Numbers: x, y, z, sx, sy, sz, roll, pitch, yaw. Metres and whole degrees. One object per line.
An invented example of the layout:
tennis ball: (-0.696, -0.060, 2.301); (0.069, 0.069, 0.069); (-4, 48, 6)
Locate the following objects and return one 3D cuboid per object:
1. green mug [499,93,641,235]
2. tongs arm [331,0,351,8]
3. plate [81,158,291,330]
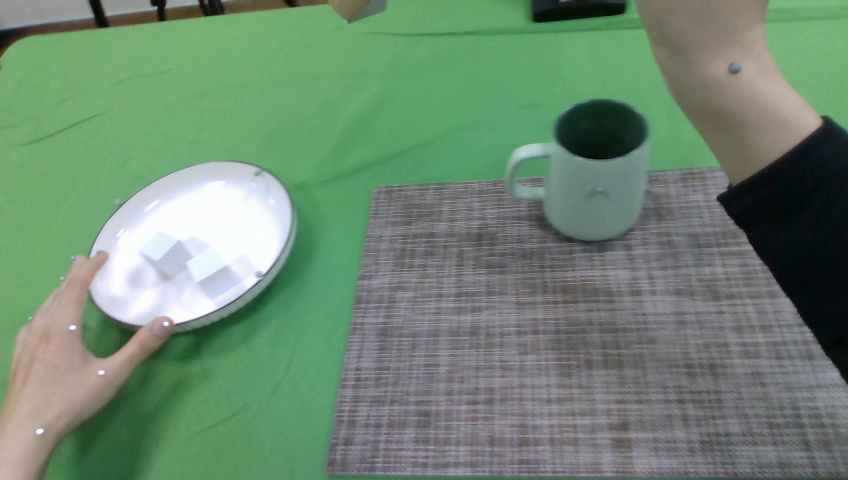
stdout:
green mug: (0.130, -0.065, 0.547); (0.125, 0.106, 0.091); (-4, 52, 8)
tongs arm: (0.050, -0.182, 0.237); (0.028, 0.028, 0.386); (-48, 21, -30)
plate: (-0.232, 0.004, 0.608); (0.209, 0.038, 0.207); (-5, 52, 6)
